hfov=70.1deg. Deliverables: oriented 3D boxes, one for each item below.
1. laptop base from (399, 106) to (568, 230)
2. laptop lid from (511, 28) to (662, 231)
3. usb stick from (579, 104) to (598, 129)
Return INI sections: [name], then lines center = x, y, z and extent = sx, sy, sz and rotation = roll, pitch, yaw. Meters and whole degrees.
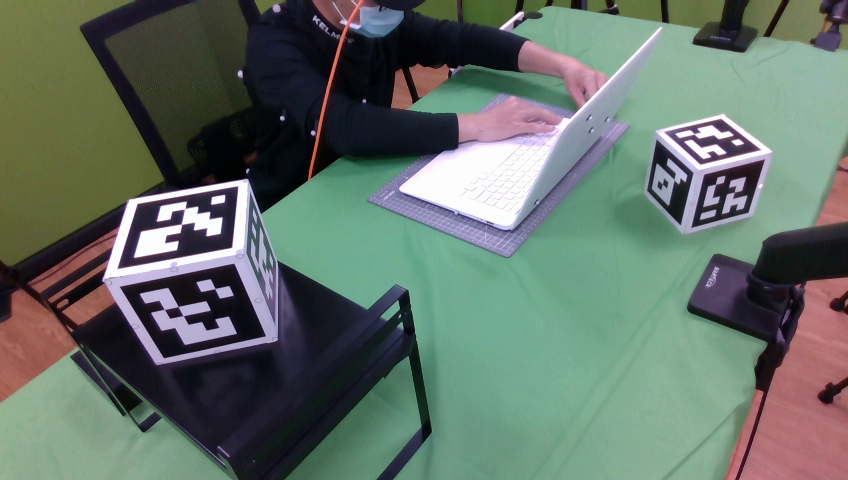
[laptop base]
center = 0.149, -0.147, 1.124
extent = 0.233, 0.023, 0.355
rotation = 20, 47, 33
[laptop lid]
center = 0.264, -0.179, 0.972
extent = 0.013, 0.242, 0.357
rotation = 36, 53, 14
[usb stick]
center = 0.321, -0.242, 1.189
extent = 0.021, 0.027, 0.059
rotation = 20, 54, 29
